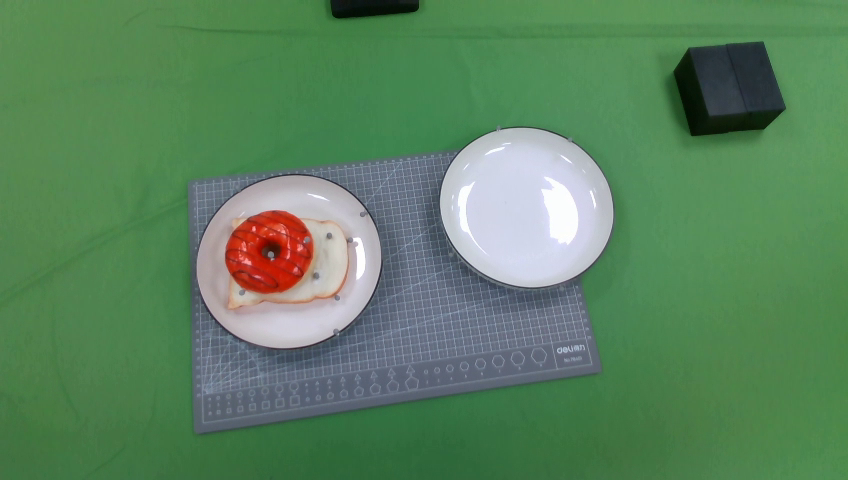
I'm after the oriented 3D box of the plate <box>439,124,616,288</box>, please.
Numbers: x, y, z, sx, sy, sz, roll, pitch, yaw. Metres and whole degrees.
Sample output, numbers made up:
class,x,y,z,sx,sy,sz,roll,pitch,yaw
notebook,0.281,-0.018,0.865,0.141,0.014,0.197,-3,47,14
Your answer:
class,x,y,z,sx,sy,sz,roll,pitch,yaw
plate,0.121,-0.040,0.724,0.208,0.039,0.206,1,71,-2

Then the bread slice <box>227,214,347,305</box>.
class,x,y,z,sx,sy,sz,roll,pitch,yaw
bread slice,-0.157,0.018,0.695,0.134,0.018,0.106,-5,72,-5

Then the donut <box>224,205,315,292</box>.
class,x,y,z,sx,sy,sz,roll,pitch,yaw
donut,-0.169,0.009,0.668,0.099,0.048,0.098,0,72,-1

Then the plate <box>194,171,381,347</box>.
class,x,y,z,sx,sy,sz,roll,pitch,yaw
plate,-0.152,0.022,0.694,0.209,0.038,0.207,1,71,-2
